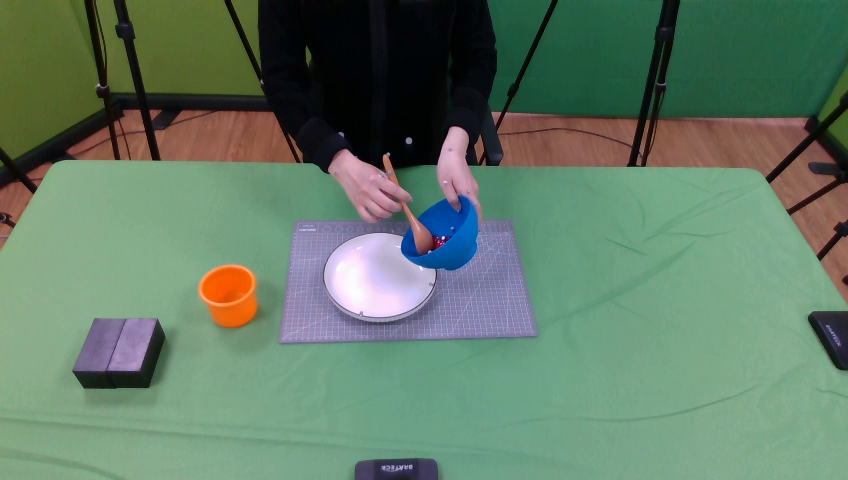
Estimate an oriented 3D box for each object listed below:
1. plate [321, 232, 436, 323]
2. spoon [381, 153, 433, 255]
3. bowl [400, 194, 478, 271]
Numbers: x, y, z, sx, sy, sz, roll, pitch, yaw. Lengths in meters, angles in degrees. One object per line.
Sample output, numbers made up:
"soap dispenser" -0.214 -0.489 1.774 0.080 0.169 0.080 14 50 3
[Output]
"plate" -0.082 0.070 1.109 0.209 0.038 0.208 3 46 -3
"spoon" -0.032 -0.058 1.030 0.041 0.194 0.021 -38 19 -32
"bowl" 0.040 0.000 1.048 0.151 0.077 0.150 -31 28 19
